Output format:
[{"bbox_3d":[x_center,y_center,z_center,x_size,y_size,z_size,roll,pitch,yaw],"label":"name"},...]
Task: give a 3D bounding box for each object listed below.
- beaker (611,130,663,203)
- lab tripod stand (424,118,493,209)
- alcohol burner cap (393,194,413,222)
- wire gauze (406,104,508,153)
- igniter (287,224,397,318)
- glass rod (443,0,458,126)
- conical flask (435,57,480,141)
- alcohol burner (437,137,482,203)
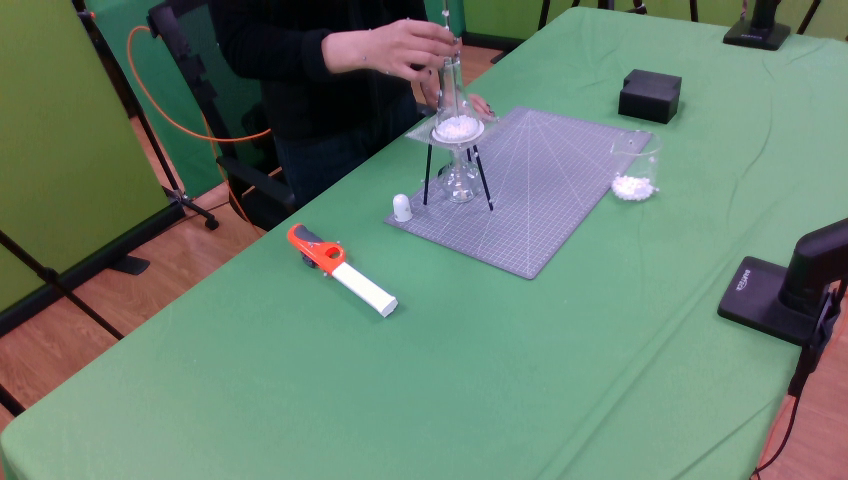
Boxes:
[{"bbox_3d":[0.346,-0.118,0.998,0.084,0.101,0.073,-17,40,-7],"label":"beaker"},{"bbox_3d":[0.061,-0.133,1.039,0.148,0.132,0.147,-6,38,6],"label":"lab tripod stand"},{"bbox_3d":[-0.039,-0.057,1.038,0.034,0.048,0.033,-5,40,5],"label":"alcohol burner cap"},{"bbox_3d":[0.054,-0.183,0.997,0.120,0.011,0.125,26,53,38],"label":"wire gauze"},{"bbox_3d":[-0.139,0.042,0.958,0.057,0.025,0.274,-42,49,-19],"label":"igniter"},{"bbox_3d":[0.040,-0.266,0.911,0.008,0.200,0.008,-5,33,4],"label":"glass rod"},{"bbox_3d":[0.046,-0.224,0.954,0.075,0.122,0.075,-7,39,6],"label":"conical flask"},{"bbox_3d":[0.060,-0.125,1.045,0.078,0.119,0.077,-5,38,4],"label":"alcohol burner"}]
